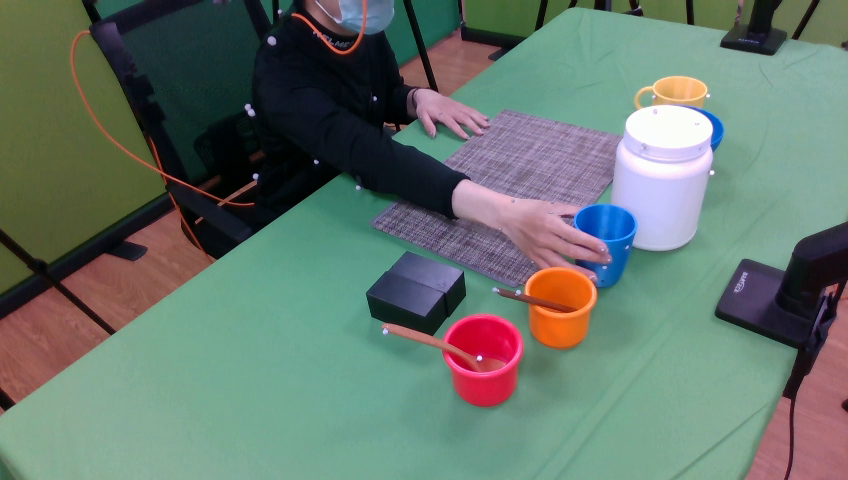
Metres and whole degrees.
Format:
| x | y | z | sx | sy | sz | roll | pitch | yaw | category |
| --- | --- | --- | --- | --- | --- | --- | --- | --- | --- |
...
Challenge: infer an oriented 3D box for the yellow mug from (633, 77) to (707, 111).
| x | y | z | sx | sy | sz | roll | pitch | yaw | category |
| --- | --- | --- | --- | --- | --- | --- | --- | --- | --- |
| 0.479 | -0.269 | 1.186 | 0.130 | 0.064 | 0.100 | 10 | 44 | 21 | yellow mug |

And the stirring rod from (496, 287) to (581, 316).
| x | y | z | sx | sy | sz | roll | pitch | yaw | category |
| --- | --- | --- | --- | --- | --- | --- | --- | --- | --- |
| 0.150 | 0.080 | 0.774 | 0.178 | 0.006 | 0.014 | 17 | 21 | -42 | stirring rod |

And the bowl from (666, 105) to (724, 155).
| x | y | z | sx | sy | sz | roll | pitch | yaw | category |
| --- | --- | --- | --- | --- | --- | --- | --- | --- | --- |
| 0.438 | -0.166 | 1.063 | 0.151 | 0.077 | 0.150 | -4 | 41 | 4 | bowl |

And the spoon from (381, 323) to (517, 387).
| x | y | z | sx | sy | sz | roll | pitch | yaw | category |
| --- | --- | --- | --- | --- | --- | --- | --- | --- | --- |
| 0.033 | 0.134 | 0.722 | 0.195 | 0.021 | 0.041 | 29 | 33 | -26 | spoon |

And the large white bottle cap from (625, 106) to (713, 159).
| x | y | z | sx | sy | sz | roll | pitch | yaw | category |
| --- | --- | --- | --- | --- | --- | --- | --- | --- | --- |
| 0.342 | -0.153 | 0.848 | 0.115 | 0.018 | 0.114 | -4 | 41 | 4 | large white bottle cap |

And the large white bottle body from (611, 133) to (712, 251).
| x | y | z | sx | sy | sz | roll | pitch | yaw | category |
| --- | --- | --- | --- | --- | --- | --- | --- | --- | --- |
| 0.351 | -0.089 | 0.904 | 0.130 | 0.185 | 0.130 | -5 | 41 | 4 | large white bottle body |

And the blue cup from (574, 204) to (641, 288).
| x | y | z | sx | sy | sz | roll | pitch | yaw | category |
| --- | --- | --- | --- | --- | --- | --- | --- | --- | --- |
| 0.255 | 0.013 | 0.862 | 0.092 | 0.100 | 0.092 | -4 | 39 | 4 | blue cup |
